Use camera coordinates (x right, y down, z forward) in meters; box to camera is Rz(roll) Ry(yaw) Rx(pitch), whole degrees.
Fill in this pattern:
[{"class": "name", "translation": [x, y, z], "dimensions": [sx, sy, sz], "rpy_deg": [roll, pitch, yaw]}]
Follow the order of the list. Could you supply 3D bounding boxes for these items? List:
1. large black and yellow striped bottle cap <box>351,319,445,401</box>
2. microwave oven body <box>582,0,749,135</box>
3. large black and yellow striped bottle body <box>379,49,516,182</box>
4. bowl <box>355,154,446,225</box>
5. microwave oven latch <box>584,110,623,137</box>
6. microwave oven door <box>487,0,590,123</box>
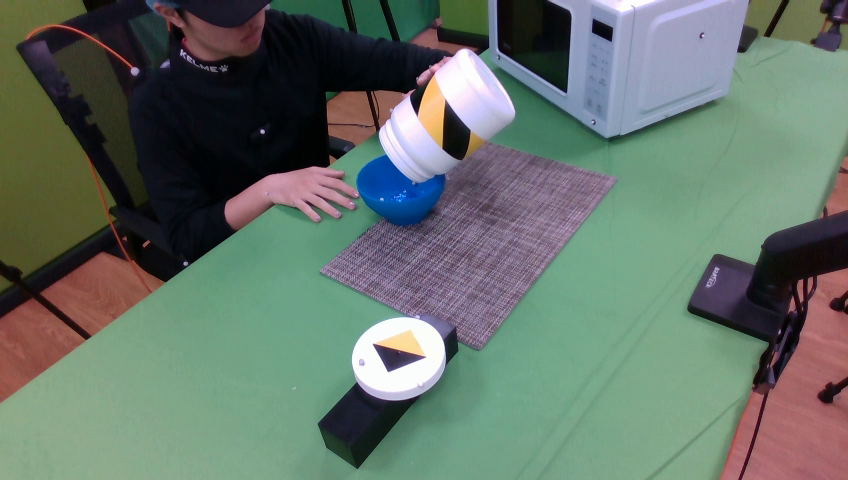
[{"class": "large black and yellow striped bottle cap", "translation": [-0.031, 0.143, 0.735], "dimensions": [0.115, 0.019, 0.114], "rpy_deg": [-3, 40, 3]}, {"class": "microwave oven body", "translation": [0.382, -0.444, 1.246], "dimensions": [0.327, 0.261, 0.437], "rpy_deg": [-22, 42, -16]}, {"class": "large black and yellow striped bottle body", "translation": [0.033, -0.184, 0.925], "dimensions": [0.183, 0.132, 0.130], "rpy_deg": [-36, 34, 23]}, {"class": "bowl", "translation": [-0.035, -0.078, 1.017], "dimensions": [0.151, 0.077, 0.150], "rpy_deg": [-4, 40, 4]}, {"class": "microwave oven latch", "translation": [0.337, -0.222, 1.142], "dimensions": [0.030, 0.029, 0.078], "rpy_deg": [-21, 42, -14]}, {"class": "microwave oven door", "translation": [0.232, -0.420, 1.230], "dimensions": [0.039, 0.245, 0.352], "rpy_deg": [-22, 43, -16]}]
